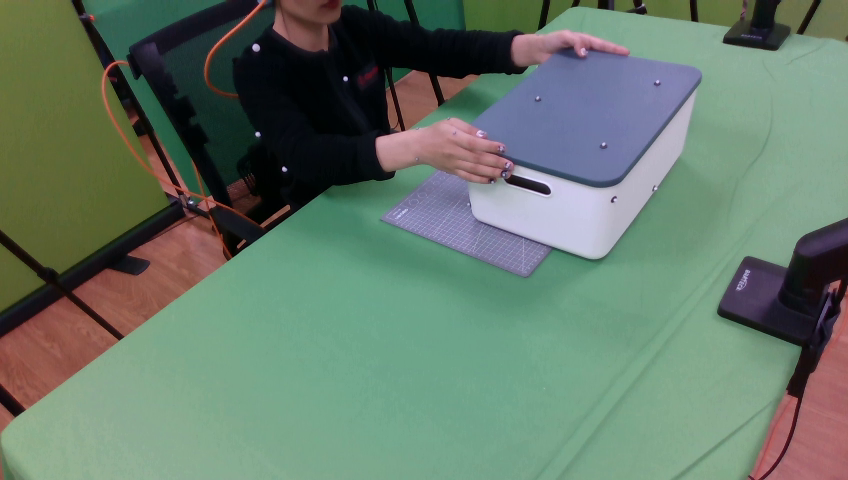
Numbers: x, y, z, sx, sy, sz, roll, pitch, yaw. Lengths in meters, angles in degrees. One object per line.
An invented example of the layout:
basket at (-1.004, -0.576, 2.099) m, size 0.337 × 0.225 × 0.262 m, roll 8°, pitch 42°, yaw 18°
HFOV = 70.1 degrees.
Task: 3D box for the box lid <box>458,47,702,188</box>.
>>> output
box lid at (0.253, -0.211, 0.954) m, size 0.261 × 0.015 × 0.372 m, roll 22°, pitch 49°, yaw 30°

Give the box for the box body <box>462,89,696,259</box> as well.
box body at (0.261, -0.153, 1.001) m, size 0.252 × 0.161 × 0.365 m, roll 21°, pitch 48°, yaw 31°
